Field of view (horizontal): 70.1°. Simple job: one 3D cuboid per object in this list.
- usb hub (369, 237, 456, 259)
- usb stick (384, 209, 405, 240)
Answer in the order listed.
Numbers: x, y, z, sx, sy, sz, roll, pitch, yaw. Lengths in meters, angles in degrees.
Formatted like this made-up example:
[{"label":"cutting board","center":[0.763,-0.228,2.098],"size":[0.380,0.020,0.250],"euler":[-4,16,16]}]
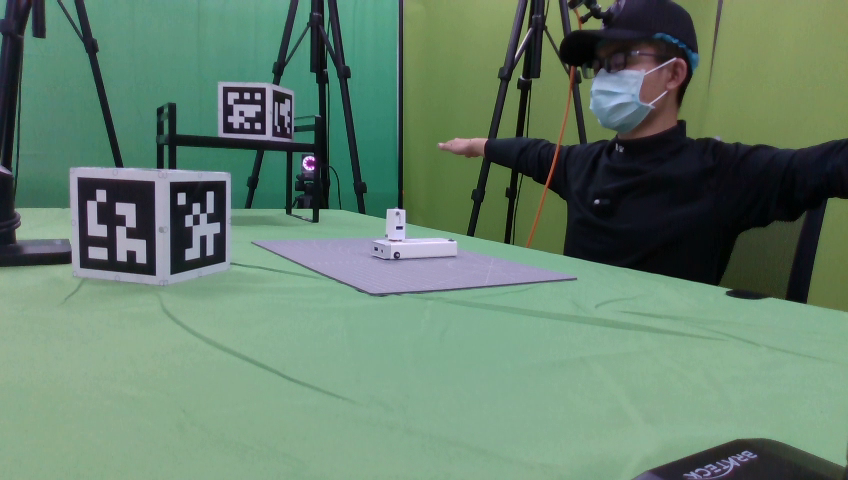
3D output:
[{"label":"usb hub","center":[-0.016,0.012,0.909],"size":[0.126,0.025,0.049],"euler":[-2,9,-32]},{"label":"usb stick","center":[-0.044,-0.016,0.892],"size":[0.021,0.059,0.027],"euler":[-1,9,-35]}]
